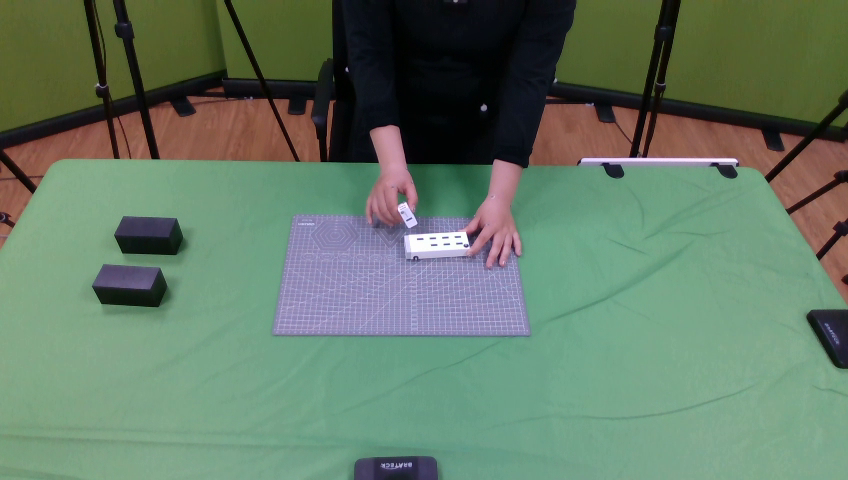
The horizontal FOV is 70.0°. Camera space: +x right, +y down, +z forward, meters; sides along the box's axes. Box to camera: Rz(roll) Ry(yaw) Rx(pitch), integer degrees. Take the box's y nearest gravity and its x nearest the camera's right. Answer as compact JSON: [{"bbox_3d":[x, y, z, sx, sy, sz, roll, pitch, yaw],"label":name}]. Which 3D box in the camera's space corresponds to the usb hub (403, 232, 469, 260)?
[{"bbox_3d":[0.023,0.012,1.182,0.125,0.025,0.049,-3,47,-7],"label":"usb hub"}]

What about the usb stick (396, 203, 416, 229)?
[{"bbox_3d":[-0.033,-0.042,1.180,0.021,0.059,0.027,-28,35,1],"label":"usb stick"}]
